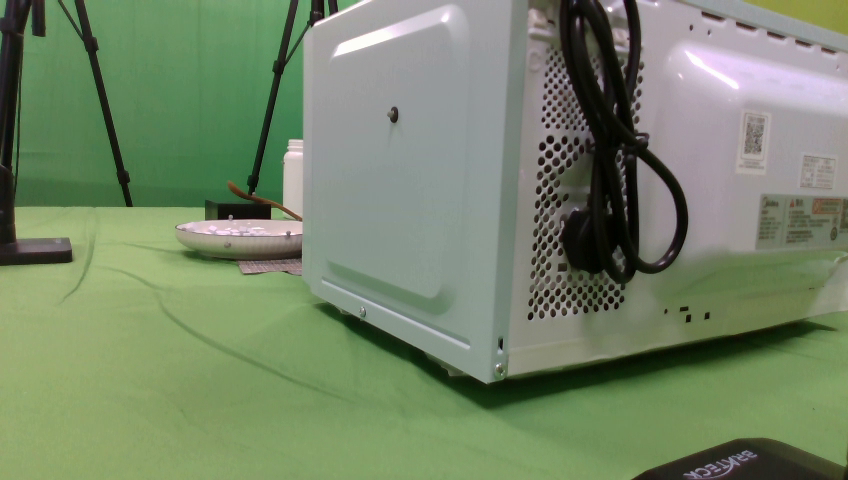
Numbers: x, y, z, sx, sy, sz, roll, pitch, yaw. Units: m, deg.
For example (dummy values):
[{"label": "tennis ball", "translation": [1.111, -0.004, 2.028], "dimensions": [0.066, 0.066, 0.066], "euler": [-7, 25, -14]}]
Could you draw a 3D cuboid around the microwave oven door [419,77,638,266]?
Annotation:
[{"label": "microwave oven door", "translation": [0.133, -0.105, 0.893], "dimensions": [0.354, 0.243, 0.039], "euler": [9, 10, 43]}]

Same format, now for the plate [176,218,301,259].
[{"label": "plate", "translation": [-0.248, -0.003, 0.877], "dimensions": [0.209, 0.038, 0.209], "euler": [1, 8, 0]}]

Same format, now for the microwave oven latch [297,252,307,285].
[{"label": "microwave oven latch", "translation": [-0.082, 0.027, 0.582], "dimensions": [0.079, 0.029, 0.030], "euler": [-1, 7, -31]}]

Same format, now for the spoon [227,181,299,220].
[{"label": "spoon", "translation": [-0.315, -0.074, 1.235], "dimensions": [0.195, 0.021, 0.041], "euler": [24, -9, -37]}]

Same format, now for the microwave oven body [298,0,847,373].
[{"label": "microwave oven body", "translation": [0.151, -0.055, 0.543], "dimensions": [0.444, 0.260, 0.324], "euler": [-1, 8, -33]}]

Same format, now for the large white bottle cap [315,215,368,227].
[{"label": "large white bottle cap", "translation": [-0.177, -0.041, 1.309], "dimensions": [0.115, 0.018, 0.115], "euler": [2, 6, 0]}]

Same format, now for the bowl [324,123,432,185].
[{"label": "bowl", "translation": [-0.063, -0.115, 0.840], "dimensions": [0.151, 0.077, 0.151], "euler": [2, 5, 0]}]

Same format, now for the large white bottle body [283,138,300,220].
[{"label": "large white bottle body", "translation": [-0.265, -0.143, 1.424], "dimensions": [0.131, 0.184, 0.130], "euler": [2, 7, 0]}]
